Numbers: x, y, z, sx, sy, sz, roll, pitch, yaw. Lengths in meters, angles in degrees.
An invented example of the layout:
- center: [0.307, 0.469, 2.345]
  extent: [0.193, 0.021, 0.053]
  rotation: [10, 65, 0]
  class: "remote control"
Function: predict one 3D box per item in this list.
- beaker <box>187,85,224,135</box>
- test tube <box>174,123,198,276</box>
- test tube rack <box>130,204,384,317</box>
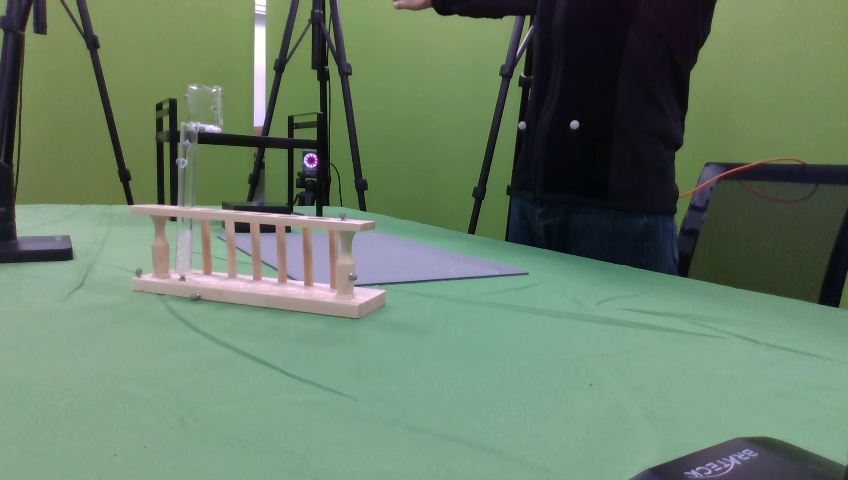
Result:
- center: [-0.466, -0.276, 1.296]
  extent: [0.074, 0.100, 0.083]
  rotation: [-3, 10, -35]
  class: "beaker"
- center: [-0.232, -0.038, 0.588]
  extent: [0.017, 0.150, 0.017]
  rotation: [6, 9, -1]
  class: "test tube"
- center: [-0.162, 0.013, 0.589]
  extent: [0.242, 0.085, 0.067]
  rotation: [5, 8, 17]
  class: "test tube rack"
